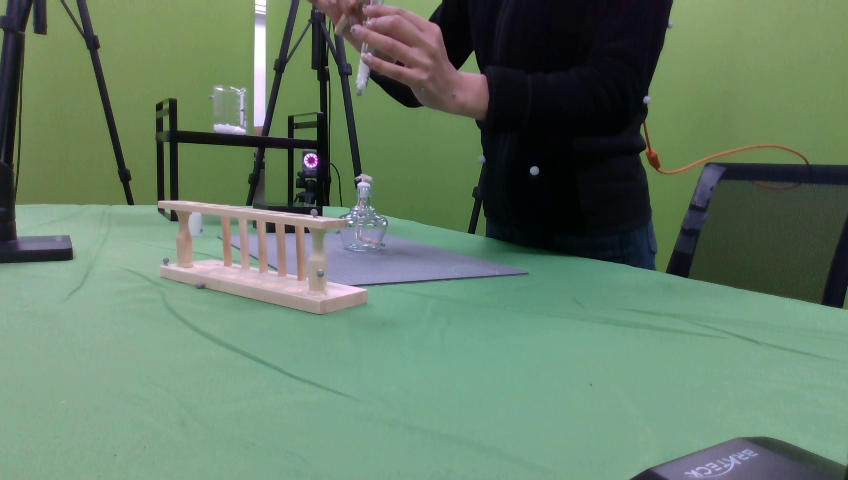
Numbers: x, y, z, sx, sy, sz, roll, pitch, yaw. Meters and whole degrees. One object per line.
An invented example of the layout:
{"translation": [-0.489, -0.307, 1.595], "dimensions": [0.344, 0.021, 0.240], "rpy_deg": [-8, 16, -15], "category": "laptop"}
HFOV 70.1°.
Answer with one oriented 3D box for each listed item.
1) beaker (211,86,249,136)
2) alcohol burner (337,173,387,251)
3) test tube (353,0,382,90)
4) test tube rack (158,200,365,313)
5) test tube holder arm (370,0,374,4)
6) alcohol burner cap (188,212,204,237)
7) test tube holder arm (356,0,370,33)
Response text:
{"translation": [-0.413, -0.274, 1.297], "dimensions": [0.074, 0.100, 0.083], "rpy_deg": [-5, 11, -44], "category": "beaker"}
{"translation": [-0.095, -0.043, 0.926], "dimensions": [0.078, 0.119, 0.078], "rpy_deg": [3, 6, 0], "category": "alcohol burner"}
{"translation": [-0.067, -0.256, 0.739], "dimensions": [0.017, 0.150, 0.017], "rpy_deg": [10, -5, 1], "category": "test tube"}
{"translation": [-0.173, 0.009, 0.624], "dimensions": [0.241, 0.085, 0.067], "rpy_deg": [7, 9, 34], "category": "test tube rack"}
{"translation": [-0.059, -0.326, 0.766], "dimensions": [0.010, 0.015, 0.087], "rpy_deg": [-24, 1, -25], "category": "test tube holder arm"}
{"translation": [-0.390, -0.029, 1.025], "dimensions": [0.034, 0.048, 0.034], "rpy_deg": [2, 8, 0], "category": "alcohol burner cap"}
{"translation": [-0.077, -0.319, 0.806], "dimensions": [0.013, 0.015, 0.178], "rpy_deg": [-23, 1, -14], "category": "test tube holder arm"}
